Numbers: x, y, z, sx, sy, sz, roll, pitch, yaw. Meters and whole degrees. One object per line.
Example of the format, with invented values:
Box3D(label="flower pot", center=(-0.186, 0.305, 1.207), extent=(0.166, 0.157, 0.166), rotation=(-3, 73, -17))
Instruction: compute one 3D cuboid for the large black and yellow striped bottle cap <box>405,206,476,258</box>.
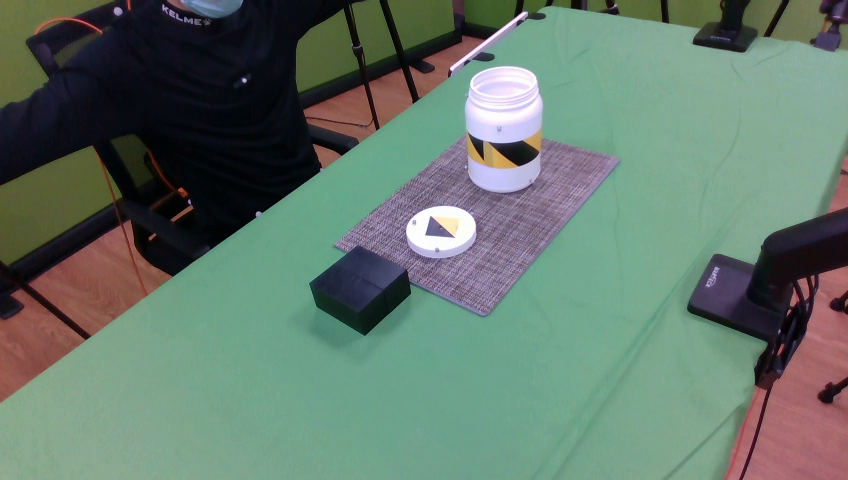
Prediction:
Box3D(label="large black and yellow striped bottle cap", center=(0.027, -0.015, 0.981), extent=(0.115, 0.019, 0.114), rotation=(-3, 41, 3))

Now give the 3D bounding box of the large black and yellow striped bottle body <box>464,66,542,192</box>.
Box3D(label="large black and yellow striped bottle body", center=(0.137, -0.190, 1.040), extent=(0.131, 0.185, 0.130), rotation=(-4, 41, 4))
